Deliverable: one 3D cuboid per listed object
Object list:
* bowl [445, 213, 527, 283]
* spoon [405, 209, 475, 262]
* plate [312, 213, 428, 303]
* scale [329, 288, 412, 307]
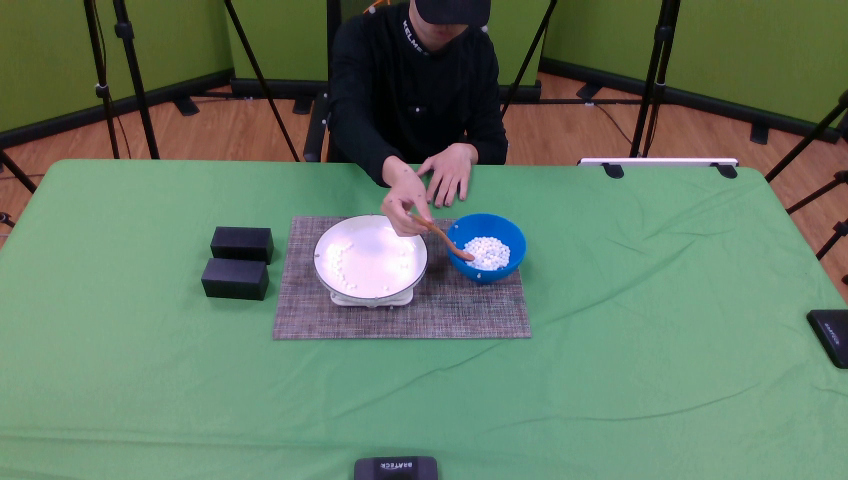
[{"bbox_3d":[0.111,0.028,1.137,0.151,0.077,0.150,2,46,-2],"label":"bowl"},{"bbox_3d":[0.029,-0.008,1.055,0.021,0.195,0.041,-48,42,3],"label":"spoon"},{"bbox_3d":[-0.097,0.036,1.100,0.209,0.038,0.208,2,46,-2],"label":"plate"},{"bbox_3d":[-0.098,0.042,1.139,0.149,0.032,0.199,0,46,-4],"label":"scale"}]
